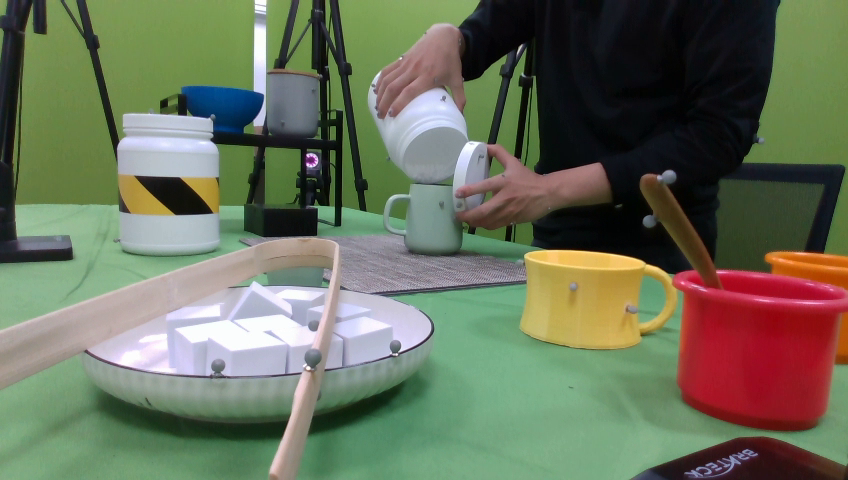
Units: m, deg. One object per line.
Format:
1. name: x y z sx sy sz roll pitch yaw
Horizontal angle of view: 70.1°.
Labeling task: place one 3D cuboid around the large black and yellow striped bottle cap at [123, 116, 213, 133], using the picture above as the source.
1. large black and yellow striped bottle cap: -0.353 -0.159 0.838 0.115 0.019 0.115 2 6 0

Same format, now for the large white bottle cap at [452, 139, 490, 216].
1. large white bottle cap: 0.072 -0.092 0.901 0.018 0.114 0.115 11 10 22

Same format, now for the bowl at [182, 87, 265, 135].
1. bowl: -0.383 -0.243 1.158 0.151 0.077 0.151 2 7 0

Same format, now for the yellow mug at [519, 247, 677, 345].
1. yellow mug: 0.148 0.045 0.513 0.131 0.064 0.100 3 7 0

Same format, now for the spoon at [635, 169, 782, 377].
1. spoon: 0.161 0.026 0.346 0.021 0.194 0.041 -51 32 -19

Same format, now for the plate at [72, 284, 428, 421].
1. plate: -0.102 0.067 0.381 0.208 0.039 0.207 3 7 0

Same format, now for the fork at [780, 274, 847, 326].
1. fork: 0.332 0.019 0.443 0.028 0.018 0.207 -3 -35 -16

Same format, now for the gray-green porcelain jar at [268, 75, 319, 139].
1. gray-green porcelain jar: -0.277 -0.279 1.280 0.106 0.126 0.106 2 8 0

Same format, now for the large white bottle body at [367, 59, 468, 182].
1. large white bottle body: -0.009 -0.190 0.967 0.131 0.130 0.184 -1 44 -24

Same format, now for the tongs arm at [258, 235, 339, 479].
1. tongs arm: -0.074 0.040 0.345 0.051 0.026 0.384 -1 10 -3

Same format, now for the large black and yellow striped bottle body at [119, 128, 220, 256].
1. large black and yellow striped bottle body: -0.355 -0.076 0.850 0.131 0.184 0.130 2 8 0

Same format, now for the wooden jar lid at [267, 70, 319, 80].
1. wooden jar lid: -0.275 -0.339 1.271 0.108 0.020 0.108 5 6 0

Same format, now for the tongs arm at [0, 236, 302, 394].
1. tongs arm: -0.157 0.038 0.347 0.028 0.028 0.388 -3 8 11

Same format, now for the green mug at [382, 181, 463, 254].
1. green mug: -0.001 -0.035 0.922 0.126 0.105 0.092 0 8 -16

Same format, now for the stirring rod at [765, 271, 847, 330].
1. stirring rod: 0.352 0.020 0.481 0.176 0.006 0.014 -40 -8 17

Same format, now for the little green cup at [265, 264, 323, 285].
1. little green cup: -0.134 0.034 0.627 0.061 0.038 0.061 3 6 0
